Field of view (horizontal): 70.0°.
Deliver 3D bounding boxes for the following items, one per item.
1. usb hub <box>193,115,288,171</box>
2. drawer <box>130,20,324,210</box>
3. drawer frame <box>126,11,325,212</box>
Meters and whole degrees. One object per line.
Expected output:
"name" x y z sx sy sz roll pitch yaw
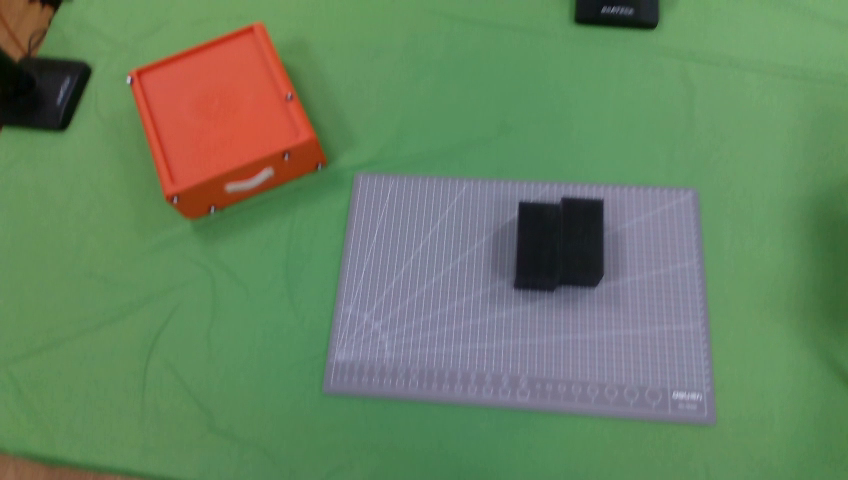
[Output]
"usb hub" -0.247 -0.131 0.814 0.125 0.025 0.049 -11 69 5
"drawer" -0.265 -0.172 0.815 0.194 0.074 0.210 -24 70 -5
"drawer frame" -0.266 -0.173 0.815 0.202 0.083 0.212 -25 69 -6
